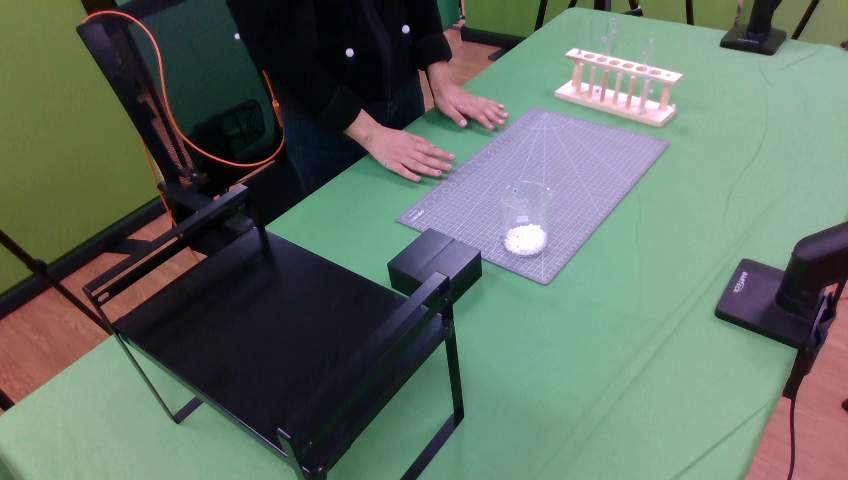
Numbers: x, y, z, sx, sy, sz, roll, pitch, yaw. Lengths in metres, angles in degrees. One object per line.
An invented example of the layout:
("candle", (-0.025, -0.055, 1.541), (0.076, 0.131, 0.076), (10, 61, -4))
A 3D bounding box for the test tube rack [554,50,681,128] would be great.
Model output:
("test tube rack", (0.387, -0.311, 1.234), (0.240, 0.085, 0.067), (28, 51, 34))

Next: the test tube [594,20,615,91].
("test tube", (0.366, -0.372, 1.233), (0.017, 0.151, 0.017), (0, 43, 0))

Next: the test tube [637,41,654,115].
("test tube", (0.423, -0.307, 1.154), (0.017, 0.151, 0.017), (-5, 41, 5))

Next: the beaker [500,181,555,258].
("beaker", (0.158, -0.030, 0.922), (0.084, 0.100, 0.073), (-13, 41, -8))
